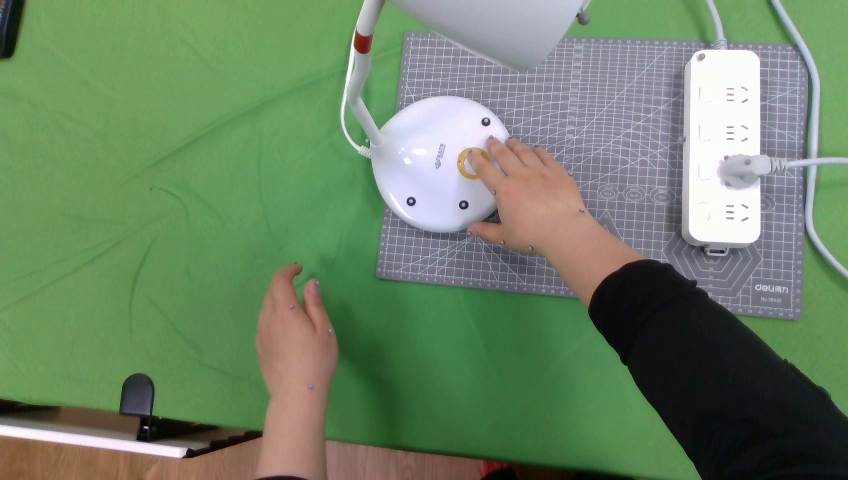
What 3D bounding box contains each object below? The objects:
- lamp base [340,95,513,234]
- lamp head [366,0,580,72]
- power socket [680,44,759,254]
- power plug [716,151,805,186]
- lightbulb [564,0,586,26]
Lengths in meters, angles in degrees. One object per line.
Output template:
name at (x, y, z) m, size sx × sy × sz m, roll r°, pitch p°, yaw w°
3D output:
lamp base at (-0.005, -0.099, 0.612) m, size 0.179 × 0.181 × 0.160 m, roll 0°, pitch 81°, yaw 12°
lamp head at (0.013, -0.155, 0.316) m, size 0.123 × 0.112 × 0.112 m, roll 10°, pitch 82°, yaw -12°
power socket at (0.311, -0.099, 0.640) m, size 0.072 × 0.033 × 0.226 m, roll 3°, pitch 81°, yaw 8°
power plug at (0.335, -0.068, 0.613) m, size 0.072 × 0.053 × 0.035 m, roll 13°, pitch 84°, yaw 7°
lightbulb at (0.038, -0.147, 0.316) m, size 0.108 × 0.059 × 0.059 m, roll 19°, pitch 84°, yaw -17°
